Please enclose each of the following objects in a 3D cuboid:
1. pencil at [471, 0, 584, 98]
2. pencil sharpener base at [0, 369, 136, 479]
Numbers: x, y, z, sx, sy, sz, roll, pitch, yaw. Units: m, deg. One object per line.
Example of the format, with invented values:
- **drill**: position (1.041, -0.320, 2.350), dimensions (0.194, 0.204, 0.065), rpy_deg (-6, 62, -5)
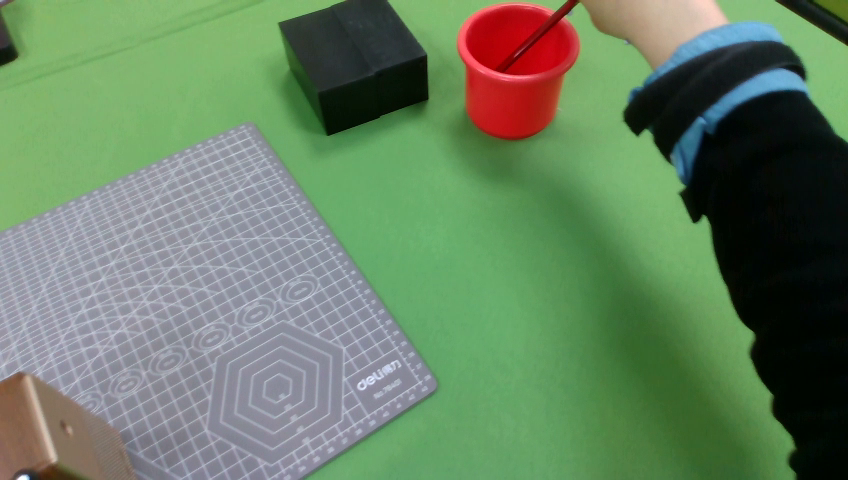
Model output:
- **pencil**: position (0.106, -0.177, 0.484), dimensions (0.012, 0.194, 0.012), rpy_deg (33, 36, -27)
- **pencil sharpener base**: position (-0.214, 0.128, 0.321), dimensions (0.077, 0.108, 0.061), rpy_deg (-29, 60, -17)
